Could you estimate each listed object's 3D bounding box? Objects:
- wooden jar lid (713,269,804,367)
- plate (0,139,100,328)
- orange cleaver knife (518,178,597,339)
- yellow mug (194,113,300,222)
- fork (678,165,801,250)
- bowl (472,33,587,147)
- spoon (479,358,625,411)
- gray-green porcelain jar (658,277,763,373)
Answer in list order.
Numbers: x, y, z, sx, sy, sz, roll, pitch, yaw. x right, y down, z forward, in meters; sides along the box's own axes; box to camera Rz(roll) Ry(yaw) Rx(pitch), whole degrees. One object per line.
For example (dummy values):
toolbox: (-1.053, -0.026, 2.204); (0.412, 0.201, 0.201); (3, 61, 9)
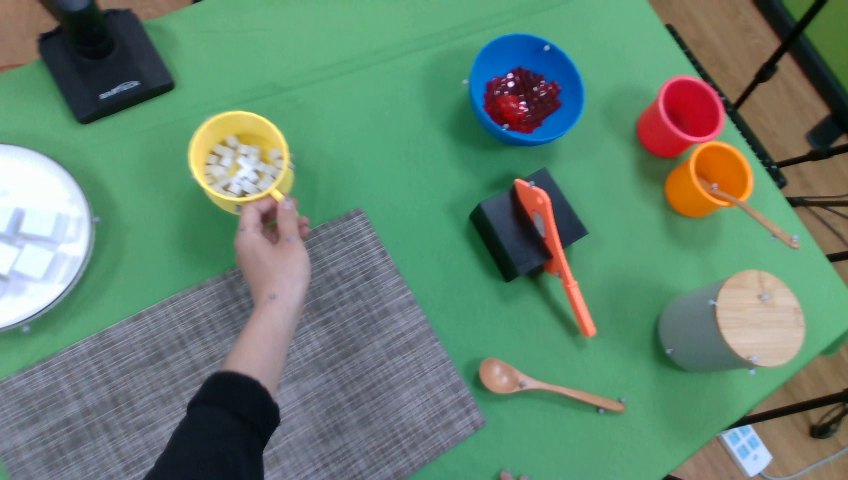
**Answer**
wooden jar lid: (0.368, 0.087, 0.672); (0.108, 0.021, 0.108); (3, 74, -9)
plate: (-0.453, -0.005, 0.642); (0.208, 0.039, 0.206); (3, 74, -11)
orange cleaver knife: (0.161, 0.023, 0.738); (0.012, 0.076, 0.212); (-26, 105, -14)
yellow mug: (-0.183, -0.069, 0.666); (0.131, 0.064, 0.100); (46, 76, 1)
fork: (0.396, -0.046, 0.771); (0.028, 0.019, 0.205); (-12, 34, -14)
bowl: (0.127, -0.181, 0.790); (0.152, 0.077, 0.150); (3, 74, -11)
spoon: (0.155, 0.180, 0.724); (0.194, 0.022, 0.041); (15, 55, -7)
gray-green porcelain jar: (0.356, 0.105, 0.732); (0.106, 0.127, 0.105); (3, 73, -11)
